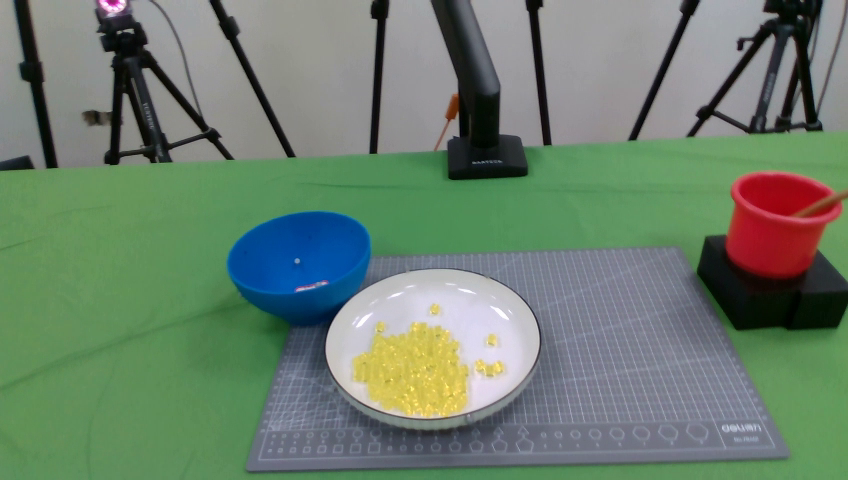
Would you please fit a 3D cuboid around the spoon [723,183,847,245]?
[{"bbox_3d":[0.381,-0.036,0.574,0.194,0.022,0.041,-34,7,43],"label":"spoon"}]

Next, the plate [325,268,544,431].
[{"bbox_3d":[0.010,0.104,0.590,0.207,0.039,0.205,-3,35,2],"label":"plate"}]

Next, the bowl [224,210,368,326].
[{"bbox_3d":[-0.131,0.040,0.659,0.151,0.077,0.150,-3,35,2],"label":"bowl"}]
